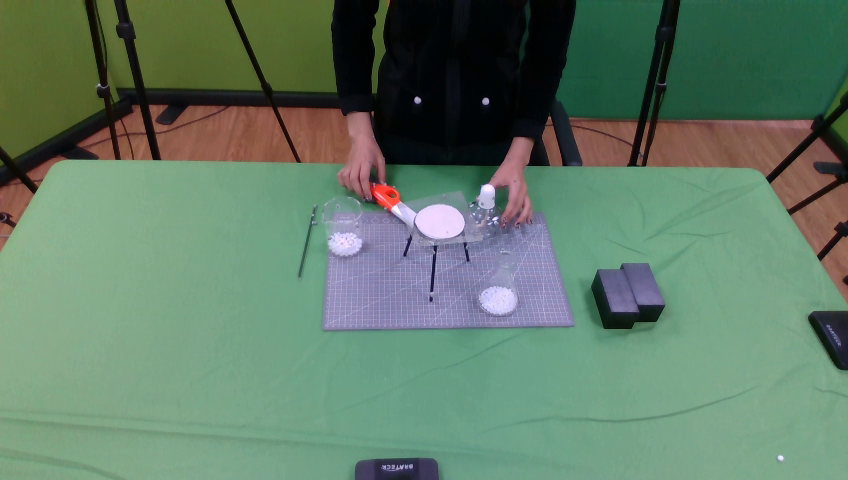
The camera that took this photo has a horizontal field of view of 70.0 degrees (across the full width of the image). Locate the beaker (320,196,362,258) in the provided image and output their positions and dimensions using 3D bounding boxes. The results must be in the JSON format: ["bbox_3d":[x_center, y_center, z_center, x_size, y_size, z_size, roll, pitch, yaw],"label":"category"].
[{"bbox_3d":[-0.156,-0.021,1.150,0.084,0.101,0.073,-30,55,-28],"label":"beaker"}]

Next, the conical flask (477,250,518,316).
[{"bbox_3d":[0.136,0.072,1.067,0.075,0.122,0.075,2,46,-2],"label":"conical flask"}]

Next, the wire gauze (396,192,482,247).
[{"bbox_3d":[0.025,-0.036,1.061,0.125,0.011,0.120,-9,47,-14],"label":"wire gauze"}]

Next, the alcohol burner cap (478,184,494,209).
[{"bbox_3d":[0.121,-0.086,1.175,0.034,0.048,0.033,0,42,0],"label":"alcohol burner cap"}]

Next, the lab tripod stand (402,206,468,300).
[{"bbox_3d":[0.023,0.013,1.108,0.148,0.132,0.147,3,44,-2],"label":"lab tripod stand"}]

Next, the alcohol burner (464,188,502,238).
[{"bbox_3d":[0.120,-0.061,1.202,0.078,0.119,0.077,4,47,-4],"label":"alcohol burner"}]

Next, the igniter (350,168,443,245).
[{"bbox_3d":[-0.065,-0.074,1.259,0.057,0.025,0.275,-35,57,-27],"label":"igniter"}]

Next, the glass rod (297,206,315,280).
[{"bbox_3d":[-0.231,0.000,1.191,0.008,0.008,0.198,2,46,-1],"label":"glass rod"}]
